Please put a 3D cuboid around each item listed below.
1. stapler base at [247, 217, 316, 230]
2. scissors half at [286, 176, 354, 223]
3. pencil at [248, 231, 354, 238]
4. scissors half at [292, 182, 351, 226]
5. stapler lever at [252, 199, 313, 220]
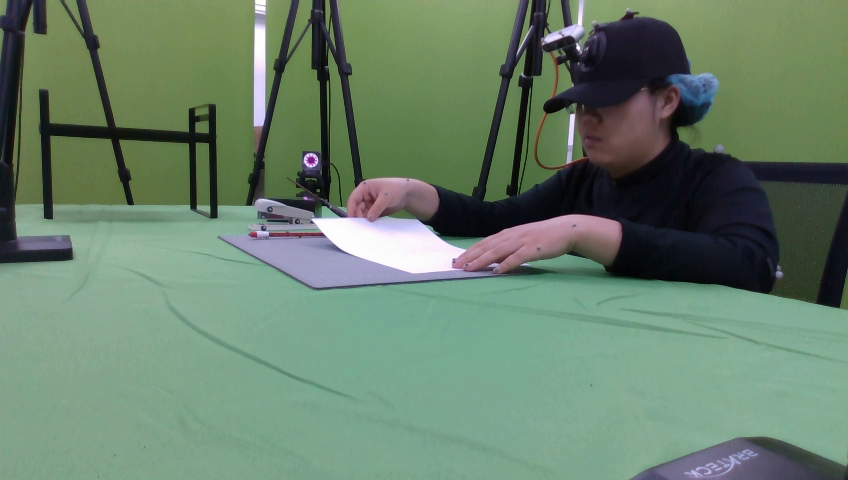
[{"bbox_3d":[-0.276,-0.033,1.172,0.131,0.024,0.041,0,10,-37],"label":"stapler base"},{"bbox_3d":[-0.229,-0.091,1.337,0.175,0.013,0.040,33,15,-13],"label":"scissors half"},{"bbox_3d":[-0.206,-0.008,1.039,0.195,0.012,0.012,0,7,-36],"label":"pencil"},{"bbox_3d":[-0.232,-0.085,1.317,0.175,0.013,0.040,38,20,4],"label":"scissors half"},{"bbox_3d":[-0.273,-0.058,1.170,0.119,0.040,0.026,0,10,-37],"label":"stapler lever"}]
